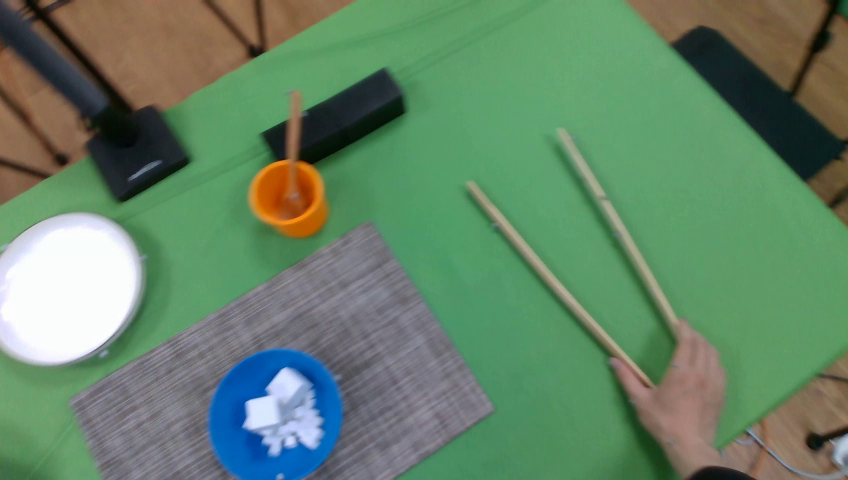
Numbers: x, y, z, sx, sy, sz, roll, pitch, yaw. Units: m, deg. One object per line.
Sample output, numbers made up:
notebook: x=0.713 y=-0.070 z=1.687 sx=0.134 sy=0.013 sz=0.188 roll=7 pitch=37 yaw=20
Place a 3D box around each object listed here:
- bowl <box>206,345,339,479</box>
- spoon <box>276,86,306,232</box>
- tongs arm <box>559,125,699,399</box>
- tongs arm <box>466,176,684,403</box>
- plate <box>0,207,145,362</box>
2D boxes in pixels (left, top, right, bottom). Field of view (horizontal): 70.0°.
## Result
bowl: x=-0.169 y=0.205 z=0.713 sx=0.151 sy=0.077 sz=0.150 roll=-1 pitch=72 yaw=2
spoon: x=-0.168 y=-0.100 z=0.781 sx=0.041 sy=0.195 sz=0.021 roll=15 pitch=28 yaw=11
tongs arm: x=0.250 y=0.019 z=0.784 sx=0.051 sy=0.027 sz=0.382 roll=-25 pitch=74 yaw=-5
tongs arm: x=0.180 y=0.058 z=0.777 sx=0.028 sy=0.028 sz=0.385 roll=-37 pitch=75 yaw=-12
plate: x=-0.468 y=0.059 z=0.799 sx=0.207 sy=0.039 sz=0.206 roll=-1 pitch=72 yaw=2
